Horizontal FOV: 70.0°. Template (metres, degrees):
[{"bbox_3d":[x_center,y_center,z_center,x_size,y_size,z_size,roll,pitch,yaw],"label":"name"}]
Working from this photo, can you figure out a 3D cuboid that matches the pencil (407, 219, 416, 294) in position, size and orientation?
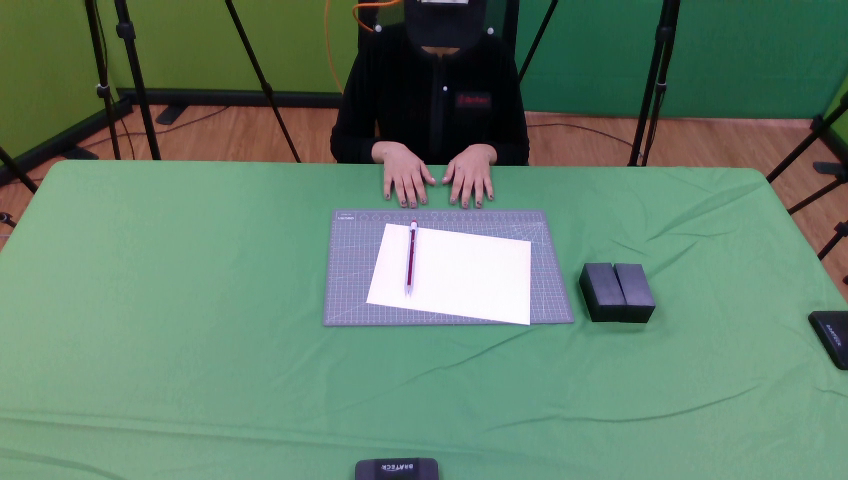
[{"bbox_3d":[-0.025,0.029,1.172,0.012,0.012,0.193,3,46,0],"label":"pencil"}]
